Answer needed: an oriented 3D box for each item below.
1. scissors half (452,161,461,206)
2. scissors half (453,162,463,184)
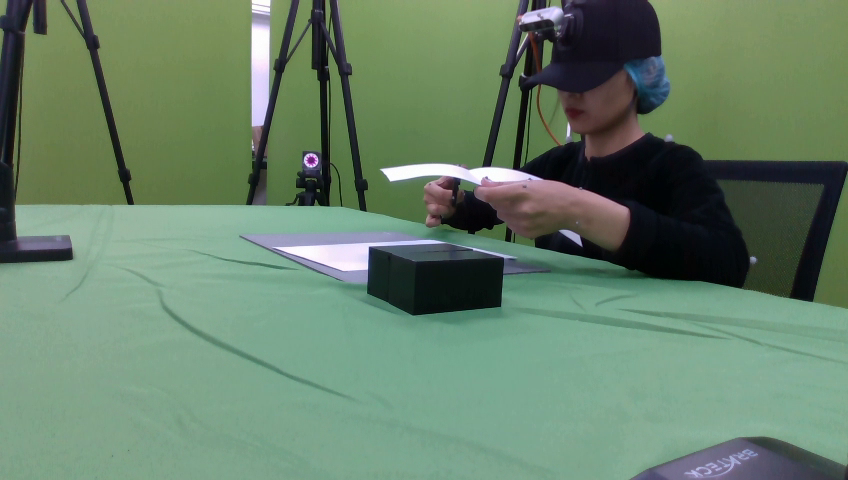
[{"bbox_3d":[0.056,-0.101,1.079,0.013,0.040,0.175,9,-20,8],"label":"scissors half"},{"bbox_3d":[0.059,-0.123,1.082,0.013,0.040,0.175,4,4,7],"label":"scissors half"}]
